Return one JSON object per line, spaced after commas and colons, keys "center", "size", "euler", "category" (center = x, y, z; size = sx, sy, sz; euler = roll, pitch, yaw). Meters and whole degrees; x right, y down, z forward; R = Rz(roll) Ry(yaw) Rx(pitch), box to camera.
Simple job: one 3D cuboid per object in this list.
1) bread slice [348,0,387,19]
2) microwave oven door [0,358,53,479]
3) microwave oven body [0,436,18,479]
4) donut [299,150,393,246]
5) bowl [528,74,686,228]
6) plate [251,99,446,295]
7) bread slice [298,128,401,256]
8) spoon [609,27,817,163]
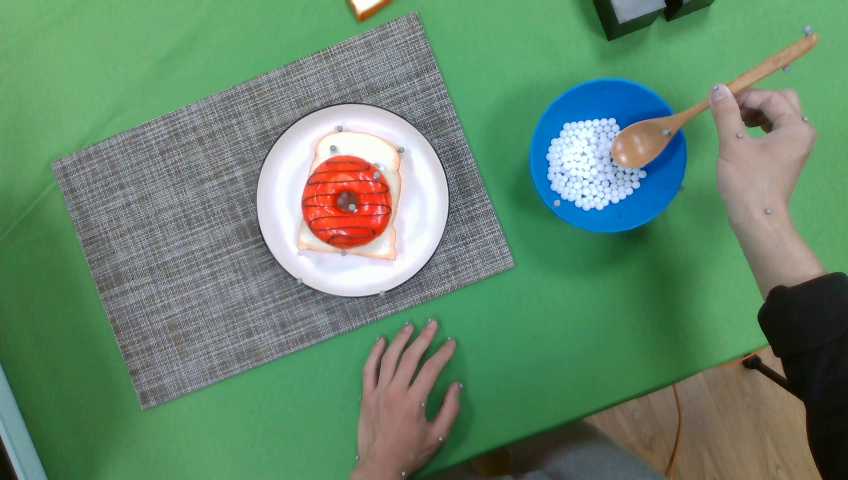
{"center": [-0.067, -0.326, 0.665], "size": [0.105, 0.019, 0.131], "euler": [-36, 90, 2], "category": "bread slice"}
{"center": [-0.487, 0.162, 0.563], "size": [0.039, 0.244, 0.355], "euler": [-24, 89, 3], "category": "microwave oven door"}
{"center": [-0.638, 0.181, 0.577], "size": [0.326, 0.260, 0.441], "euler": [-23, 89, 3], "category": "microwave oven body"}
{"center": [-0.080, -0.043, 0.626], "size": [0.099, 0.048, 0.099], "euler": [0, 91, 4], "category": "donut"}
{"center": [0.179, -0.086, 0.622], "size": [0.151, 0.077, 0.151], "euler": [0, 90, 3], "category": "bowl"}
{"center": [-0.079, -0.045, 0.654], "size": [0.207, 0.039, 0.207], "euler": [0, 90, 3], "category": "plate"}
{"center": [-0.079, -0.053, 0.654], "size": [0.107, 0.018, 0.134], "euler": [3, 91, 3], "category": "bread slice"}
{"center": [0.250, -0.125, 0.542], "size": [0.193, 0.022, 0.041], "euler": [-33, 85, 46], "category": "spoon"}
